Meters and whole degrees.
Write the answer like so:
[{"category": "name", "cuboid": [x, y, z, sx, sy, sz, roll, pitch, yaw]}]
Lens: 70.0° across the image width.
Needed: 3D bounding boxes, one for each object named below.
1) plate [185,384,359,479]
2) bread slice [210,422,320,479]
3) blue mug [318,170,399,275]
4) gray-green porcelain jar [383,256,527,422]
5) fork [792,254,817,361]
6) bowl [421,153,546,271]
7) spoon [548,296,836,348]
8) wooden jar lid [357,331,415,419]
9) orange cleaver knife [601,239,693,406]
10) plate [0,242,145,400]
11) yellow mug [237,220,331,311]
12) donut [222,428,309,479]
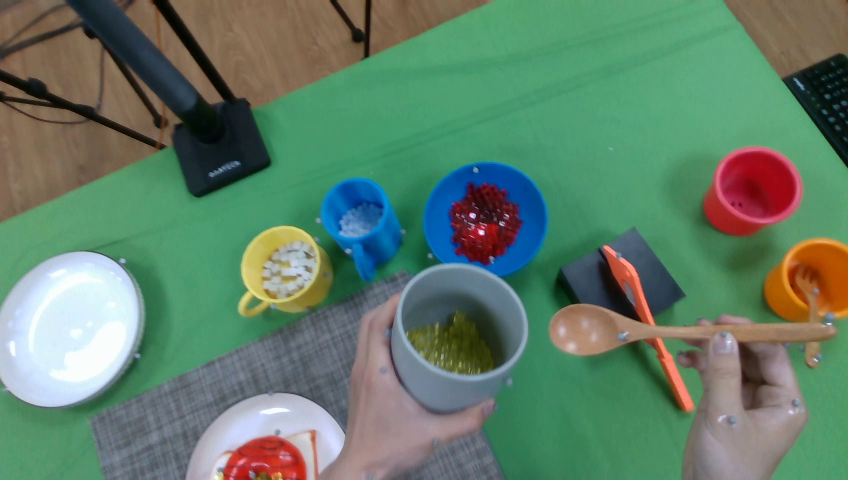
[{"category": "plate", "cuboid": [-0.175, 0.276, 0.714, 0.209, 0.038, 0.208, -2, 73, 6]}, {"category": "bread slice", "cuboid": [-0.188, 0.281, 0.718, 0.131, 0.019, 0.104, -12, 72, -1]}, {"category": "blue mug", "cuboid": [-0.079, -0.014, 0.759, 0.082, 0.106, 0.116, -6, 73, 5]}, {"category": "gray-green porcelain jar", "cuboid": [0.020, 0.091, 0.520, 0.106, 0.127, 0.105, 5, 54, -7]}, {"category": "fork", "cuboid": [0.413, 0.067, 0.653, 0.028, 0.019, 0.207, 36, 36, 10]}, {"category": "bowl", "cuboid": [0.075, -0.023, 0.758, 0.151, 0.077, 0.150, -2, 74, 6]}, {"category": "spoon", "cuboid": [0.184, 0.062, 0.442, 0.193, 0.022, 0.041, -4, 87, 35]}, {"category": "wooden jar lid", "cuboid": [-0.027, 0.163, 0.740, 0.108, 0.021, 0.108, -2, 74, 6]}, {"category": "orange cleaver knife", "cuboid": [0.255, 0.094, 0.699, 0.012, 0.077, 0.212, -28, 102, -1]}, {"category": "plate", "cuboid": [-0.465, 0.106, 0.803, 0.207, 0.039, 0.206, -2, 73, 6]}, {"category": "yellow mug", "cuboid": [-0.187, 0.042, 0.775, 0.099, 0.064, 0.131, 42, 83, 17]}, {"category": "donut", "cuboid": [-0.180, 0.265, 0.688, 0.099, 0.048, 0.098, -1, 73, 3]}]
